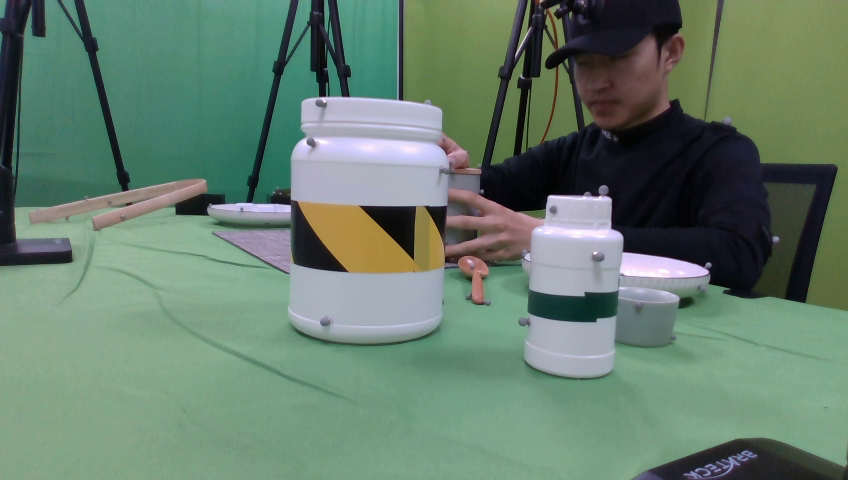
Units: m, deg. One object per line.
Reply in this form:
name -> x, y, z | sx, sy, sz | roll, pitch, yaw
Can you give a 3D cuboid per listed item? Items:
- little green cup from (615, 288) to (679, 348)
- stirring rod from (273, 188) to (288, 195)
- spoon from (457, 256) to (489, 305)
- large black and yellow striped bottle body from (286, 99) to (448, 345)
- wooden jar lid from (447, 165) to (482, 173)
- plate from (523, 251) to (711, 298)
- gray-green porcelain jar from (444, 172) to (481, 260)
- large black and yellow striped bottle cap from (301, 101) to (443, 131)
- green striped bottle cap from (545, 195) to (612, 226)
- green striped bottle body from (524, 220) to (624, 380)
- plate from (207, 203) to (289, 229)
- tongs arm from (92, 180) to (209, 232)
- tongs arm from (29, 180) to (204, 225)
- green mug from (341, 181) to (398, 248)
little green cup -> 0.180, 0.064, 0.506 | 0.061, 0.038, 0.061 | 1, 8, 0
stirring rod -> -0.353, -0.122, 1.518 | 0.006, 0.014, 0.176 | 1, 7, 1
spoon -> 0.059, 0.044, 0.696 | 0.041, 0.021, 0.194 | 20, 7, 0
large black and yellow striped bottle body -> -0.047, -0.018, 0.501 | 0.131, 0.184, 0.130 | 2, 7, 0
wooden jar lid -> 0.030, -0.099, 0.885 | 0.108, 0.020, 0.108 | 6, 10, -1
plate -> 0.219, 0.042, 0.706 | 0.209, 0.038, 0.209 | 2, 7, 0
gray-green porcelain jar -> 0.029, -0.038, 0.892 | 0.106, 0.126, 0.106 | 1, 7, 0
large black and yellow striped bottle cap -> -0.042, -0.100, 0.491 | 0.115, 0.019, 0.115 | 1, 8, 0
green striped bottle cap -> 0.106, -0.020, 0.414 | 0.044, 0.020, 0.044 | 2, 4, 0
green striped bottle body -> 0.104, 0.031, 0.422 | 0.063, 0.119, 0.063 | 2, 8, 0
plate -> -0.342, -0.050, 1.259 | 0.208, 0.039, 0.207 | 2, 7, 0
tongs arm -> -0.534, -0.076, 1.222 | 0.028, 0.028, 0.388 | -2, 15, 12
tongs arm -> -0.609, -0.083, 1.245 | 0.050, 0.026, 0.386 | 5, 16, 23
green mug -> -0.090, -0.044, 0.996 | 0.093, 0.105, 0.125 | 0, 7, -9
